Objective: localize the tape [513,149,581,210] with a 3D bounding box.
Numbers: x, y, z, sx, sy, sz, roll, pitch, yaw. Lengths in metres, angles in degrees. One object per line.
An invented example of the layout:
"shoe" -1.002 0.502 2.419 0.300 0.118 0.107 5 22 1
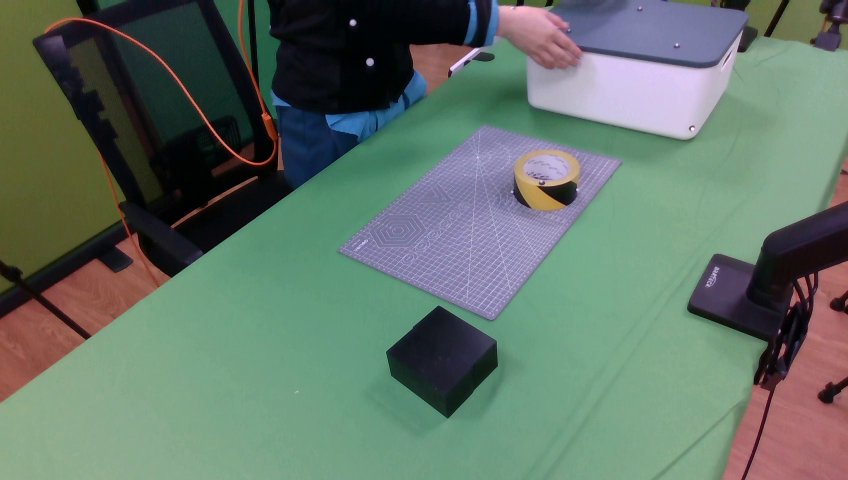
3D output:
"tape" 0.208 -0.104 1.032 0.117 0.053 0.116 -4 40 4

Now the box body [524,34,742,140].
"box body" 0.412 -0.354 1.212 0.361 0.161 0.254 20 48 29

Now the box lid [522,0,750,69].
"box lid" 0.405 -0.409 1.162 0.369 0.015 0.264 20 47 29
